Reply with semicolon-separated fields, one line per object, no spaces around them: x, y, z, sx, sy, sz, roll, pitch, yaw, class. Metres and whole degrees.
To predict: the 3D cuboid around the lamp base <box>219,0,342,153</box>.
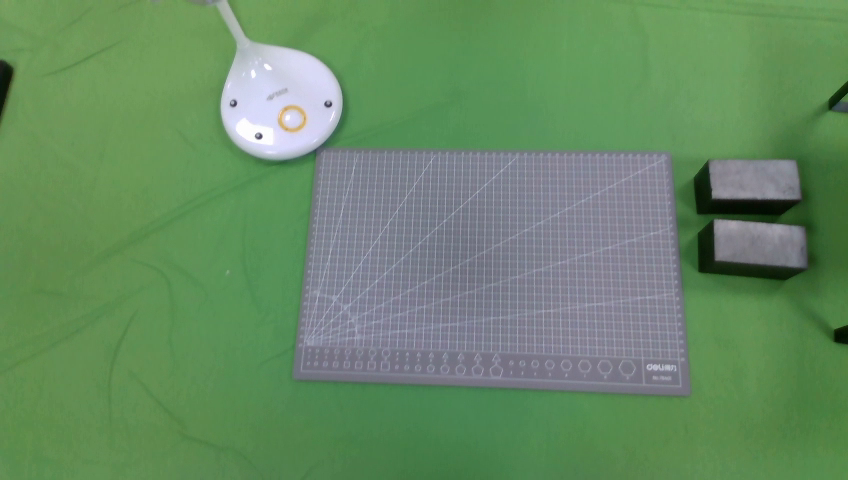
-0.201;-0.220;0.729;0.160;0.181;0.178;-39;72;-9;lamp base
